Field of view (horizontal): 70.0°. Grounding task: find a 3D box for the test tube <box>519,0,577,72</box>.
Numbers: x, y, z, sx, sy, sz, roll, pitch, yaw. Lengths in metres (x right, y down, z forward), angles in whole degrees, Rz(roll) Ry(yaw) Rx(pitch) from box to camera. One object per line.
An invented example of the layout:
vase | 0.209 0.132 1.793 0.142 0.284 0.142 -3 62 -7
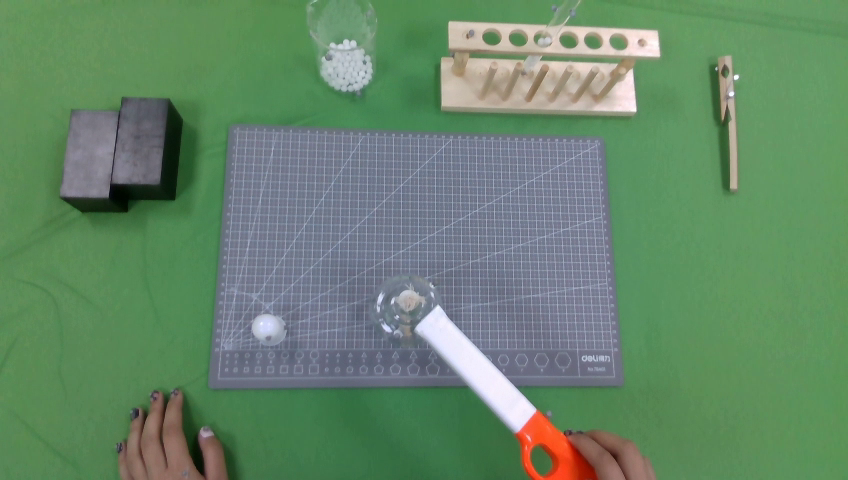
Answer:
test tube | 0.135 -0.230 0.675 0.017 0.150 0.017 3 75 -11

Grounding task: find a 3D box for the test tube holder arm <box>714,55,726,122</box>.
test tube holder arm | 0.380 -0.194 0.776 0.010 0.015 0.087 -6 75 29

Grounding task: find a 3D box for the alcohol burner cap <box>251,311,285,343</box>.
alcohol burner cap | -0.165 0.090 0.638 0.034 0.048 0.033 1 76 -5

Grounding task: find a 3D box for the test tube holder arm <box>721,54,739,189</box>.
test tube holder arm | 0.384 -0.150 0.762 0.013 0.015 0.177 -7 74 29

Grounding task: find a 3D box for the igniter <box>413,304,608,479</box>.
igniter | 0.094 0.168 0.539 0.057 0.025 0.276 -43 87 -19

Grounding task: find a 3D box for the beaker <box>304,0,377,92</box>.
beaker | -0.096 -0.223 0.696 0.084 0.100 0.074 28 75 3

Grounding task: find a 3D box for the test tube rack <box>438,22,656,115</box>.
test tube rack | 0.141 -0.201 0.720 0.243 0.085 0.066 1 76 -5

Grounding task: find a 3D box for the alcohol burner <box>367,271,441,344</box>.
alcohol burner | -0.019 0.066 0.621 0.078 0.119 0.077 2 74 -5
